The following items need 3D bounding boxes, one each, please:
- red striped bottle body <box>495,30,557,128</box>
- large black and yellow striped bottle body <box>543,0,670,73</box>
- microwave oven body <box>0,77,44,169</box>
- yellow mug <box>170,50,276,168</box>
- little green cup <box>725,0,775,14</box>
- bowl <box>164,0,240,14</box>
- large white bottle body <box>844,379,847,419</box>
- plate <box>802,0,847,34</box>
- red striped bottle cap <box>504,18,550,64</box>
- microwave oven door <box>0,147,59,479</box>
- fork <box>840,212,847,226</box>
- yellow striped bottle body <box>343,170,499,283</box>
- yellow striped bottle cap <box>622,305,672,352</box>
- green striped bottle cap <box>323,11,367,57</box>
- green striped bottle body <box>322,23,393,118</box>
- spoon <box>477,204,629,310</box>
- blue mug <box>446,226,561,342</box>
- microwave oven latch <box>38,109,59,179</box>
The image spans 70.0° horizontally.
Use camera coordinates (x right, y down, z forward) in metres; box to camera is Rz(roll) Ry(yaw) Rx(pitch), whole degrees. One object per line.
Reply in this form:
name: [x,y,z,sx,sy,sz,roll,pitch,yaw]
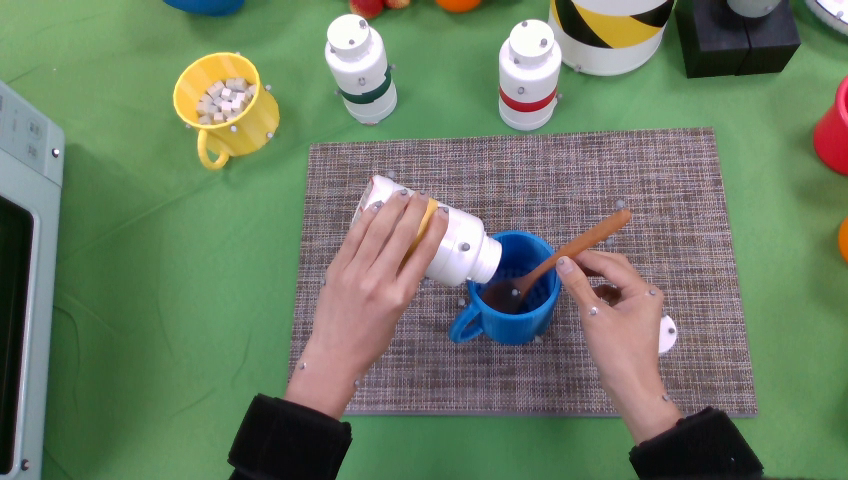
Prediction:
red striped bottle body: [0.107,-0.175,0.638,0.063,0.120,0.062,-3,69,8]
large black and yellow striped bottle body: [0.196,-0.279,0.631,0.130,0.185,0.130,-2,70,6]
microwave oven body: [-0.574,0.047,0.556,0.326,0.262,0.438,-10,70,2]
yellow mug: [-0.233,-0.144,0.694,0.100,0.064,0.130,8,72,9]
little green cup: [0.347,-0.270,0.634,0.061,0.039,0.061,-1,68,4]
bowl: [-0.276,-0.342,0.763,0.151,0.077,0.150,-2,70,5]
large white bottle body: [0.433,0.125,0.459,0.130,0.186,0.129,-2,69,6]
plate: [0.517,-0.305,0.682,0.209,0.038,0.207,-2,71,6]
red striped bottle cap: [0.100,-0.194,0.589,0.044,0.018,0.044,-1,69,2]
microwave oven door: [-0.425,0.059,0.530,0.039,0.245,0.353,-10,69,3]
fork: [0.461,0.007,0.517,0.028,0.019,0.205,-39,27,-7]
yellow striped bottle body: [0.000,-0.006,0.494,0.121,0.063,0.062,22,72,-14]
yellow striped bottle cap: [0.215,0.085,0.585,0.044,0.019,0.044,-2,70,7]
green striped bottle cap: [-0.080,-0.210,0.615,0.044,0.020,0.044,-1,72,2]
green striped bottle body: [-0.073,-0.191,0.664,0.063,0.120,0.063,-2,70,5]
spoon: [0.103,0.023,0.525,0.022,0.194,0.041,1,62,-31]
blue mug: [0.068,0.054,0.564,0.116,0.106,0.082,-37,70,-8]
microwave oven latch: [-0.444,-0.109,0.700,0.030,0.030,0.078,-9,70,3]
